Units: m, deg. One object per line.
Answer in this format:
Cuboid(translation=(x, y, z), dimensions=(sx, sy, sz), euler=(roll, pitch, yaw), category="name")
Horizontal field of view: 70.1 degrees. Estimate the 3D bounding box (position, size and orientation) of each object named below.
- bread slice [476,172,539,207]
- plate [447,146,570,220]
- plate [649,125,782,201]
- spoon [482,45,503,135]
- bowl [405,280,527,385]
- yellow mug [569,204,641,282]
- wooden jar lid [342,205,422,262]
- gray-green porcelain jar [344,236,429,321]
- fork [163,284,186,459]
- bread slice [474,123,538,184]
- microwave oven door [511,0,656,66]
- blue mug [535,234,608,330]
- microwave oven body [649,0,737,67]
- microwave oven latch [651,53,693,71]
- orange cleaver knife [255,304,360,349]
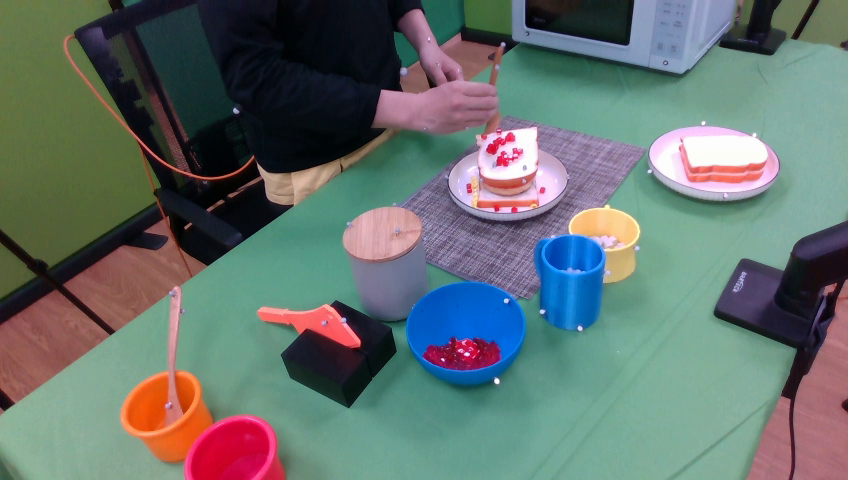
Cuboid(translation=(0.144, -0.104, 1.058), dimensions=(0.105, 0.019, 0.131), euler=(-1, 44, 5), category="bread slice")
Cuboid(translation=(0.145, -0.098, 1.046), dimensions=(0.209, 0.038, 0.208), euler=(-4, 41, 4), category="plate")
Cuboid(translation=(0.493, -0.128, 1.036), dimensions=(0.207, 0.039, 0.206), euler=(-4, 41, 4), category="plate")
Cuboid(translation=(0.107, -0.228, 0.937), dimensions=(0.021, 0.194, 0.042), euler=(36, 69, 22), category="spoon")
Cuboid(translation=(0.055, 0.131, 0.767), dimensions=(0.151, 0.077, 0.150), euler=(-4, 40, 4), category="bowl")
Cuboid(translation=(0.268, -0.005, 0.904), dimensions=(0.099, 0.064, 0.130), euler=(7, 41, 15), category="yellow mug")
Cuboid(translation=(-0.055, -0.006, 0.808), dimensions=(0.108, 0.021, 0.108), euler=(-6, 40, 6), category="wooden jar lid")
Cuboid(translation=(-0.049, 0.042, 0.849), dimensions=(0.106, 0.127, 0.105), euler=(-4, 41, 4), category="gray-green porcelain jar")
Cuboid(translation=(-0.302, 0.157, 0.733), dimensions=(0.028, 0.019, 0.207), euler=(-3, 84, 15), category="fork")
Cuboid(translation=(0.142, -0.144, 1.009), dimensions=(0.107, 0.018, 0.133), euler=(-8, 46, 8), category="bread slice")
Cuboid(translation=(0.351, -0.539, 1.349), dimensions=(0.353, 0.245, 0.039), euler=(24, 50, 31), category="microwave oven door")
Cuboid(translation=(0.191, 0.048, 0.824), dimensions=(0.082, 0.106, 0.115), euler=(-26, 44, -21), category="blue mug")
Cuboid(translation=(0.475, -0.602, 1.411), dimensions=(0.438, 0.261, 0.327), euler=(23, 50, 32), category="microwave oven body")
Cuboid(translation=(0.532, -0.387, 1.301), dimensions=(0.078, 0.029, 0.030), euler=(27, 52, 34), category="microwave oven latch")
Cuboid(translation=(-0.161, 0.115, 0.813), dimensions=(0.210, 0.077, 0.012), euler=(-4, 32, 47), category="orange cleaver knife")
